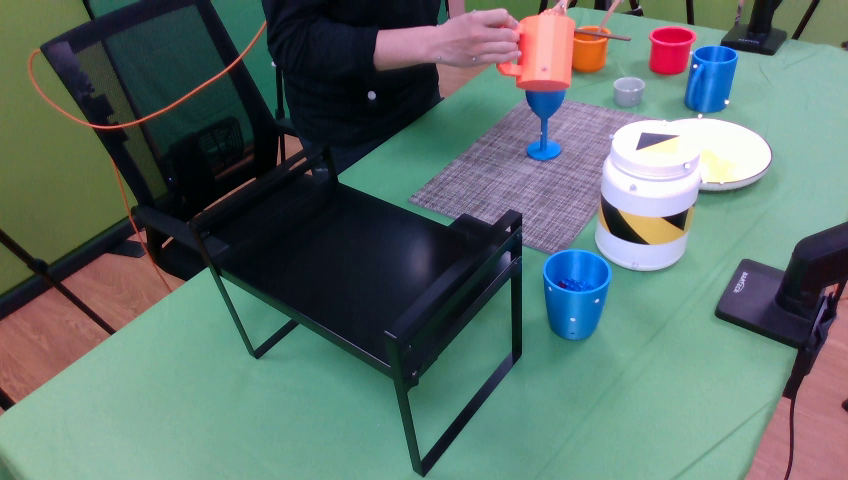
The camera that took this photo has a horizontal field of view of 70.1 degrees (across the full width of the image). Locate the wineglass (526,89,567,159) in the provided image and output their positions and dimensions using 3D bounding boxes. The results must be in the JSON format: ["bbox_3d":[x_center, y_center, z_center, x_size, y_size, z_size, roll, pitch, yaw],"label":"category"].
[{"bbox_3d":[0.221,-0.236,1.097,0.074,0.173,0.073,-5,41,4],"label":"wineglass"}]

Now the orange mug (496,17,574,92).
[{"bbox_3d":[0.173,-0.292,0.945,0.127,0.100,0.083,7,2,-19],"label":"orange mug"}]

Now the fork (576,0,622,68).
[{"bbox_3d":[0.409,-0.484,1.381,0.028,0.019,0.207,37,101,46],"label":"fork"}]

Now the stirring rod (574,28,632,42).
[{"bbox_3d":[0.381,-0.462,1.356,0.175,0.006,0.014,23,48,30],"label":"stirring rod"}]

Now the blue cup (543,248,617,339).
[{"bbox_3d":[0.199,0.076,0.797,0.092,0.100,0.092,-4,39,4],"label":"blue cup"}]

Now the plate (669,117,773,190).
[{"bbox_3d":[0.495,-0.148,1.063,0.209,0.038,0.208,-5,40,4],"label":"plate"}]

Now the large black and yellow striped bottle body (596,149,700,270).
[{"bbox_3d":[0.323,-0.062,0.877,0.131,0.185,0.130,-5,40,4],"label":"large black and yellow striped bottle body"}]

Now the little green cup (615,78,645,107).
[{"bbox_3d":[0.426,-0.306,1.257,0.061,0.039,0.061,-4,40,4],"label":"little green cup"}]

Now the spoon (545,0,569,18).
[{"bbox_3d":[0.243,-0.403,0.991,0.041,0.022,0.194,15,59,41],"label":"spoon"}]

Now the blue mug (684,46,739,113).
[{"bbox_3d":[0.556,-0.310,1.190,0.117,0.106,0.081,-32,46,-25],"label":"blue mug"}]

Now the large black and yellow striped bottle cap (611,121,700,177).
[{"bbox_3d":[0.315,-0.126,0.823,0.115,0.019,0.114,-4,42,4],"label":"large black and yellow striped bottle cap"}]
